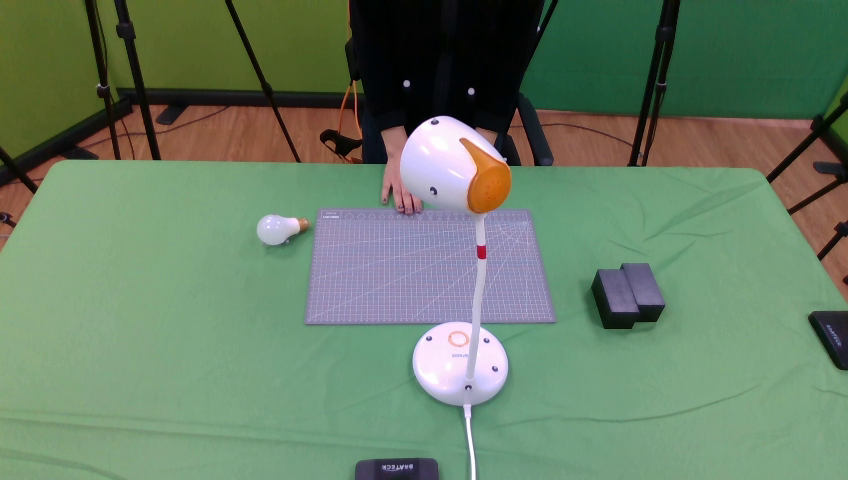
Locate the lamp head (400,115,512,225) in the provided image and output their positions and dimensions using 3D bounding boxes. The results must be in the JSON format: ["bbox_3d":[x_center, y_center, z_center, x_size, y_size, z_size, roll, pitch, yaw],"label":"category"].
[{"bbox_3d":[0.047,-0.077,0.729,0.112,0.113,0.122,-25,43,-25],"label":"lamp head"}]

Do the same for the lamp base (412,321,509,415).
[{"bbox_3d":[0.067,0.158,0.943,0.161,0.181,0.178,-6,50,-10],"label":"lamp base"}]

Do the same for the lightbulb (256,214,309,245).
[{"bbox_3d":[-0.274,-0.025,1.184,0.108,0.060,0.059,-14,46,-37],"label":"lightbulb"}]
